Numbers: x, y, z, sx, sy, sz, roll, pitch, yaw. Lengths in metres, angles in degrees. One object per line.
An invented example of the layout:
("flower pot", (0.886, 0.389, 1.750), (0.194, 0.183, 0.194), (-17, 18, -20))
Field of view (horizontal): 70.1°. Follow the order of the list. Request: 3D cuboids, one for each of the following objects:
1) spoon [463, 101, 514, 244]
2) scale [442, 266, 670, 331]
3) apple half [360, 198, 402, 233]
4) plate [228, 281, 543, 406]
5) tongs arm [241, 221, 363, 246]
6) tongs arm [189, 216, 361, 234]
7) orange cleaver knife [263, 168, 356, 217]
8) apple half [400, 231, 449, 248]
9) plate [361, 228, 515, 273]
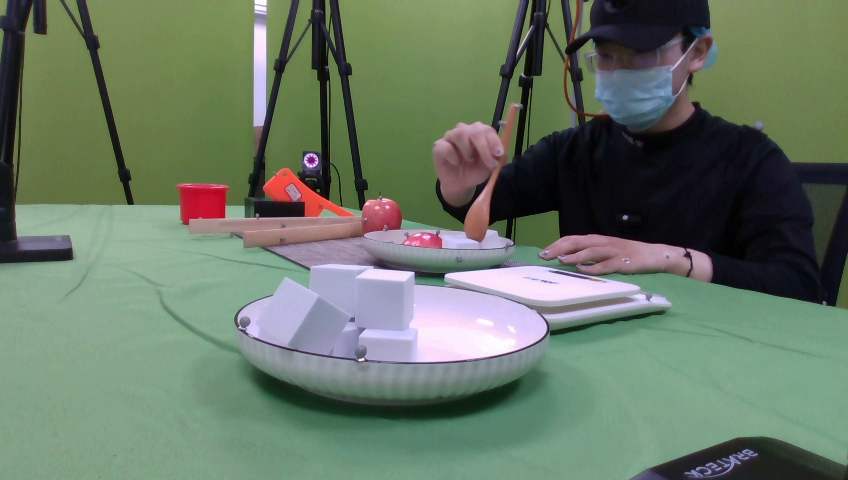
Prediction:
("spoon", (0.088, -0.089, 0.788), (0.022, 0.193, 0.041), (24, -10, -40))
("scale", (0.131, 0.052, 0.603), (0.202, 0.031, 0.148), (-2, 9, -37))
("apple half", (-0.066, -0.032, 1.014), (0.053, 0.074, 0.081), (9, 6, 20))
("plate", (-0.025, 0.067, 0.413), (0.208, 0.039, 0.207), (3, 7, 0))
("tongs arm", (-0.159, -0.017, 1.034), (0.028, 0.028, 0.389), (2, 5, 33))
("tongs arm", (-0.220, -0.028, 1.088), (0.387, 0.026, 0.050), (-3, 8, -43))
("orange cleaver knife", (-0.240, -0.077, 1.294), (0.212, 0.077, 0.012), (32, -7, -26))
("apple half", (0.002, 0.005, 0.843), (0.081, 0.033, 0.081), (2, 4, 0))
("plate", (0.018, 0.013, 0.818), (0.209, 0.038, 0.209), (2, 7, 0))
